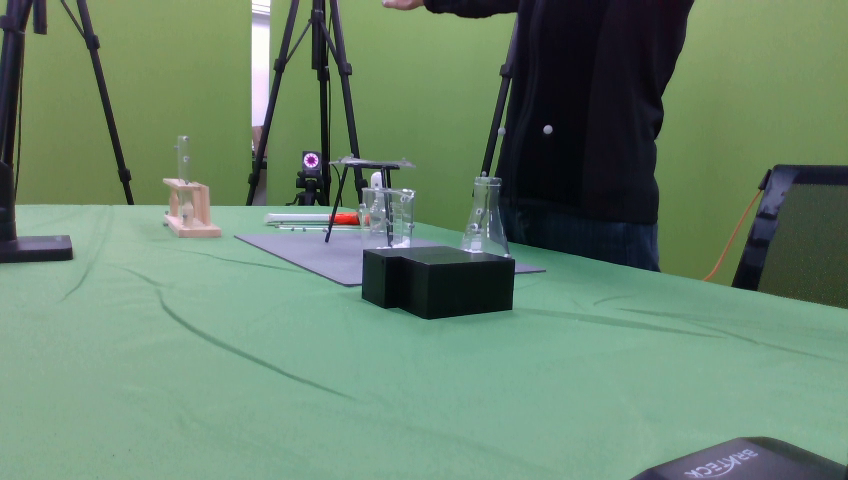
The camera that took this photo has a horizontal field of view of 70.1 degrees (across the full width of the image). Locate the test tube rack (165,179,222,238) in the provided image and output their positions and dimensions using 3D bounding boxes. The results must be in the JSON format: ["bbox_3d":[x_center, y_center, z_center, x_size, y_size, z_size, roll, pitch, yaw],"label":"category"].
[{"bbox_3d":[-0.423,-0.062,1.098,0.067,0.085,0.241,-2,9,-28],"label":"test tube rack"}]

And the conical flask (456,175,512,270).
[{"bbox_3d":[0.082,-0.025,0.801,0.075,0.122,0.075,2,7,0],"label":"conical flask"}]

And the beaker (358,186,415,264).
[{"bbox_3d":[-0.048,-0.020,0.817,0.083,0.100,0.074,10,11,41],"label":"beaker"}]

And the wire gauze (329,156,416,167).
[{"bbox_3d":[-0.079,-0.126,0.972,0.121,0.011,0.125,4,8,5],"label":"wire gauze"}]

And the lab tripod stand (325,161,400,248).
[{"bbox_3d":[-0.083,-0.059,0.977,0.148,0.131,0.148,4,8,0],"label":"lab tripod stand"}]

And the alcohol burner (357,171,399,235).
[{"bbox_3d":[-0.085,-0.069,1.125,0.078,0.119,0.078,3,10,0],"label":"alcohol burner"}]

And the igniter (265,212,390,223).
[{"bbox_3d":[-0.196,-0.048,1.286,0.278,0.025,0.057,-2,-2,-30],"label":"igniter"}]

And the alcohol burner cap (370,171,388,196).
[{"bbox_3d":[-0.085,-0.104,1.121,0.034,0.048,0.034,-5,8,1],"label":"alcohol burner cap"}]

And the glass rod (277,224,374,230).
[{"bbox_3d":[-0.187,-0.024,1.178,0.201,0.008,0.008,1,6,-31],"label":"glass rod"}]

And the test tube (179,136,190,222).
[{"bbox_3d":[-0.416,-0.105,1.052,0.017,0.150,0.017,0,4,0],"label":"test tube"}]
